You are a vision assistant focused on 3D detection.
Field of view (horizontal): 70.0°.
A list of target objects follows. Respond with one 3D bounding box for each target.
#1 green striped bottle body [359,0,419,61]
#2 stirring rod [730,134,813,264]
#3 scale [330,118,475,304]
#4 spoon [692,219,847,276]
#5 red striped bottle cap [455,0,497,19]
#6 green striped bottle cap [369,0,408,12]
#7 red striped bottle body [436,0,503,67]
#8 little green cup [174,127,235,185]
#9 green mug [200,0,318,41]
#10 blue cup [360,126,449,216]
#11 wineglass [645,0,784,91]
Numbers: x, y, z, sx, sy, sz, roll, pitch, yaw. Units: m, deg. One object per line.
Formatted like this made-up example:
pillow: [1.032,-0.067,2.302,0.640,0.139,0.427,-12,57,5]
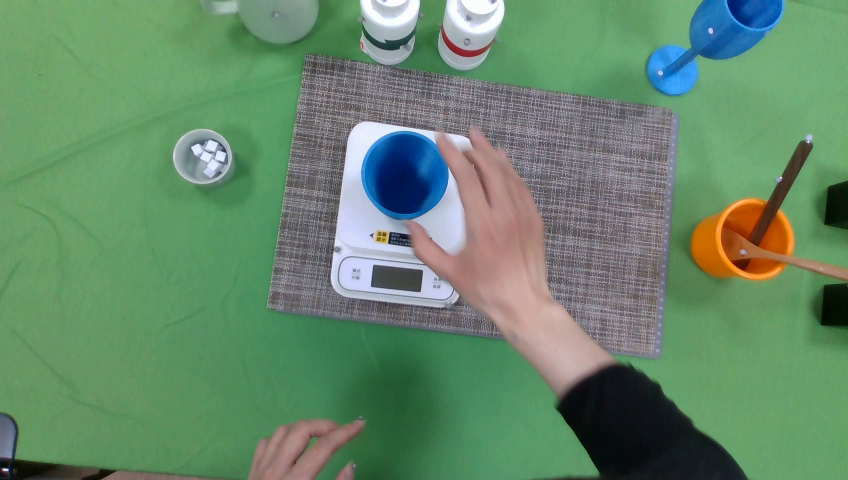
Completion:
green striped bottle body: [-0.039,-0.250,0.667,0.063,0.119,0.063,1,83,-4]
stirring rod: [0.380,-0.039,0.669,0.014,0.177,0.006,14,42,9]
scale: [-0.023,-0.033,0.687,0.149,0.031,0.200,7,84,-4]
spoon: [0.392,0.015,0.664,0.022,0.192,0.041,22,89,-46]
red striped bottle cap: [0.055,-0.252,0.622,0.044,0.018,0.044,1,83,-8]
green striped bottle cap: [-0.036,-0.256,0.615,0.044,0.020,0.044,1,83,-5]
red striped bottle body: [0.050,-0.246,0.674,0.063,0.120,0.063,1,83,-5]
little green cup: [-0.240,-0.091,0.673,0.061,0.038,0.061,1,84,-6]
green mug: [-0.183,-0.275,0.664,0.125,0.105,0.092,-15,86,-6]
blue cup: [-0.022,-0.062,0.624,0.093,0.100,0.092,0,86,-4]
wineglass: [0.312,-0.226,0.669,0.074,0.172,0.073,1,83,-4]
